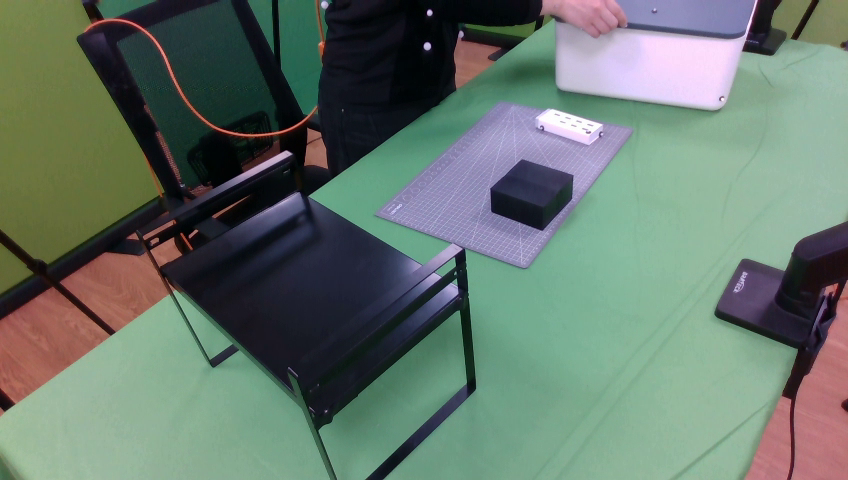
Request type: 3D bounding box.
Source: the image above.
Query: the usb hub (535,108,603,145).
[{"bbox_3d":[0.284,-0.224,1.188,0.124,0.025,0.049,28,52,35],"label":"usb hub"}]

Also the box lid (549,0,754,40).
[{"bbox_3d":[0.459,-0.488,1.215,0.369,0.015,0.263,15,50,21],"label":"box lid"}]

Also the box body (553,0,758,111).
[{"bbox_3d":[0.481,-0.417,1.281,0.362,0.161,0.254,15,46,24],"label":"box body"}]
